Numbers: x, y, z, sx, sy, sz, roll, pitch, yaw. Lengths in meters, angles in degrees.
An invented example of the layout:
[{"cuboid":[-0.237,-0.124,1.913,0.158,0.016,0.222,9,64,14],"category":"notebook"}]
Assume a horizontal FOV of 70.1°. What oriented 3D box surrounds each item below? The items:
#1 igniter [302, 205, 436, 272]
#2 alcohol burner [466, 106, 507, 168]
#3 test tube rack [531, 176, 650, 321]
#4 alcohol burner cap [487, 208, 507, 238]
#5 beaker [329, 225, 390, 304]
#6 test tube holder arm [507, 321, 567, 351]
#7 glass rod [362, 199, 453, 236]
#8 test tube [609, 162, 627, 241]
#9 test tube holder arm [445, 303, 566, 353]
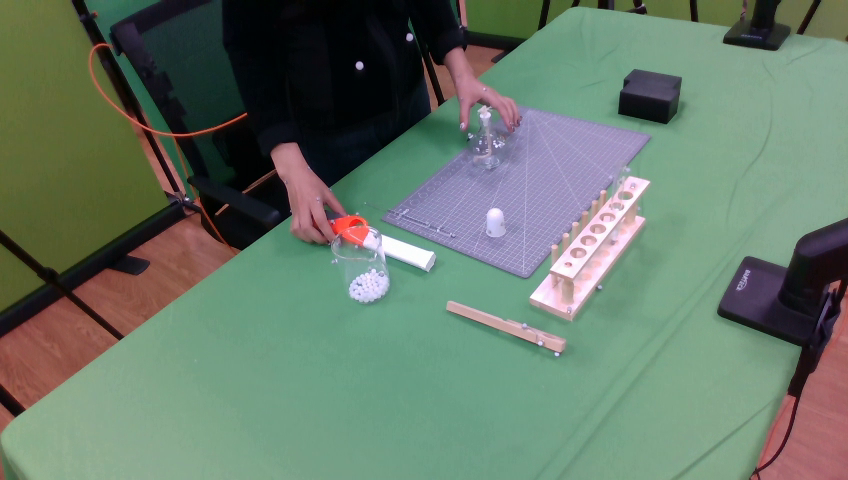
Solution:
[{"cuboid":[-0.101,-0.007,1.003,0.274,0.025,0.057,20,67,29],"category":"igniter"},{"cuboid":[0.115,-0.193,1.112,0.078,0.119,0.077,-4,41,4],"category":"alcohol burner"},{"cuboid":[0.246,0.002,0.884,0.066,0.085,0.243,22,49,32],"category":"test tube rack"},{"cuboid":[0.116,-0.030,0.975,0.034,0.048,0.033,-6,40,5],"category":"alcohol burner cap"},{"cuboid":[-0.089,0.040,0.890,0.074,0.101,0.083,-32,46,-24],"category":"beaker"},{"cuboid":[0.148,0.128,0.808,0.087,0.015,0.010,16,11,28],"category":"test tube holder arm"},{"cuboid":[-0.031,-0.041,1.041,0.198,0.008,0.008,22,50,31],"category":"glass rod"},{"cuboid":[0.277,-0.051,0.864,0.017,0.151,0.017,-6,47,7],"category":"test tube"},{"cuboid":[0.107,0.117,0.824,0.177,0.015,0.013,16,11,27],"category":"test tube holder arm"}]
